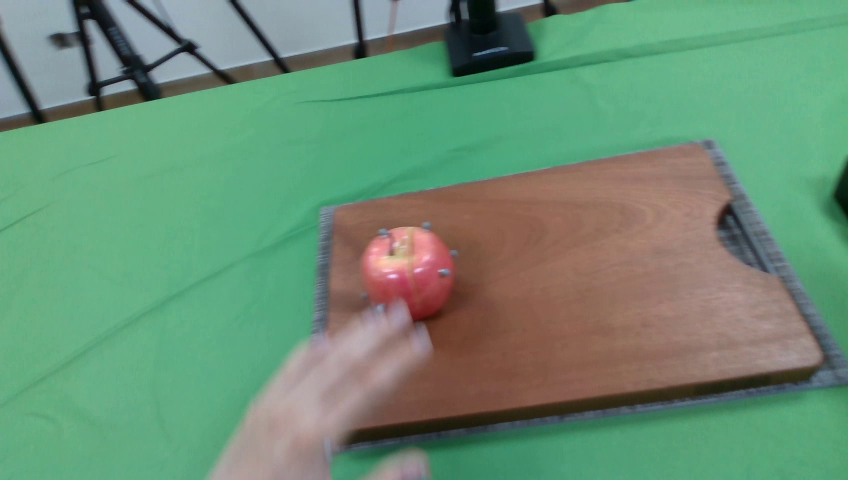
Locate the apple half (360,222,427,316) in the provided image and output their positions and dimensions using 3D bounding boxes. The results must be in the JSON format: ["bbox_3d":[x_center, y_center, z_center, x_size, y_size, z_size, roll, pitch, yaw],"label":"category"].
[{"bbox_3d":[-0.028,0.030,0.540,0.053,0.075,0.080,-11,52,10],"label":"apple half"}]

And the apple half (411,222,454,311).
[{"bbox_3d":[0.011,0.023,0.536,0.033,0.082,0.080,-9,48,8],"label":"apple half"}]
